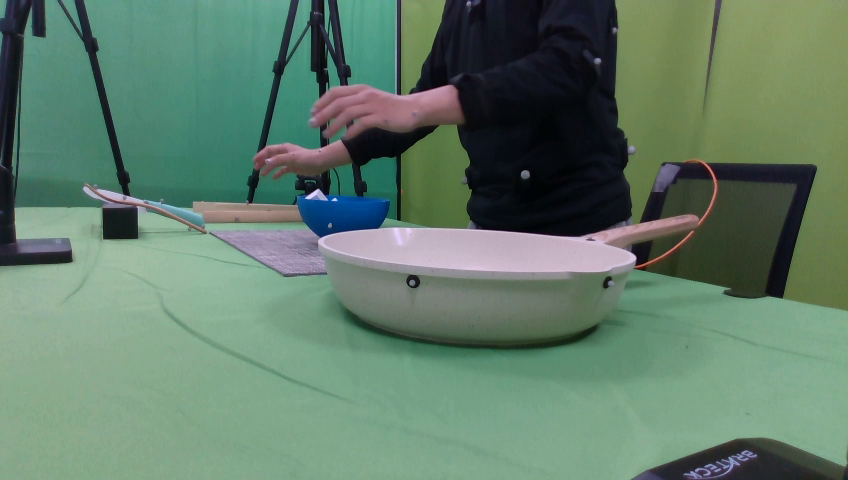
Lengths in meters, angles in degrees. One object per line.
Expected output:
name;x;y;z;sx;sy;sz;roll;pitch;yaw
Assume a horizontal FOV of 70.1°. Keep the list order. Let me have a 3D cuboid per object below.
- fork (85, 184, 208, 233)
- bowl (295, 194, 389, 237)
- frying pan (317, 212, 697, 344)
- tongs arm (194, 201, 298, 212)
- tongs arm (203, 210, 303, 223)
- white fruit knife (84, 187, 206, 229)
fork;-0.462;-0.051;1.019;0.208;0.018;0.028;22;-11;-37
bowl;-0.132;-0.032;0.981;0.151;0.077;0.151;2;7;0
frying pan;0.133;0.013;0.629;0.490;0.102;0.305;-12;14;-31
tongs arm;-0.335;-0.072;1.424;0.387;0.026;0.050;0;9;-24
tongs arm;-0.298;-0.056;1.354;0.390;0.028;0.028;-3;7;-36
white fruit knife;-0.488;-0.059;1.071;0.208;0.027;0.016;17;4;-33
